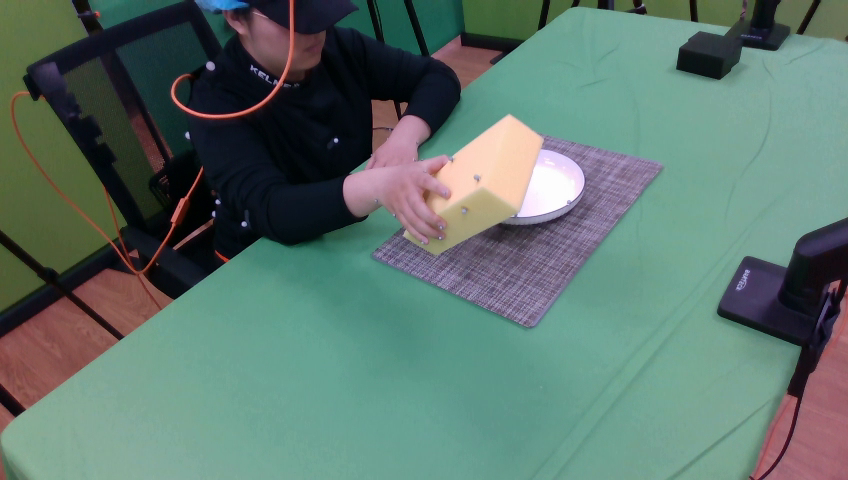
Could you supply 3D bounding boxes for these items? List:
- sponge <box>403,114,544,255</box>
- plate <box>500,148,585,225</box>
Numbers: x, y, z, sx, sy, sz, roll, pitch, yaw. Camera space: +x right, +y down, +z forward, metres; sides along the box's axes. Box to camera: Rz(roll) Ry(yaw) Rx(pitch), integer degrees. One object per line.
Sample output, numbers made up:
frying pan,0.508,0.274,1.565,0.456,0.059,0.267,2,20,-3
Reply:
sponge,0.061,-0.067,0.819,0.061,0.206,0.118,31,60,-19
plate,0.170,-0.089,1.041,0.207,0.039,0.206,-5,40,5
